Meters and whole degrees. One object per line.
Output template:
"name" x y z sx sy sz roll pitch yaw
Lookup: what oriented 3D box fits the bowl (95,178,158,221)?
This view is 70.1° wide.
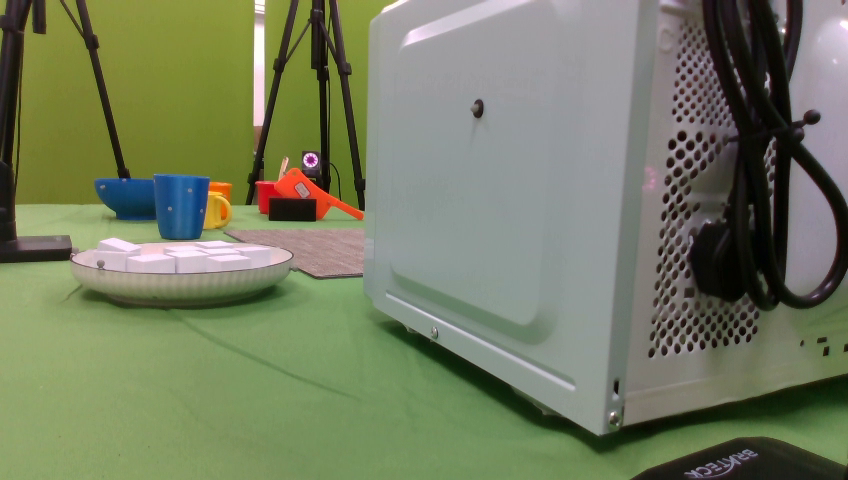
"bowl" -0.576 -0.081 1.217 0.151 0.077 0.151 3 8 0

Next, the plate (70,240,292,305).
"plate" -0.242 0.031 0.618 0.208 0.039 0.207 2 8 0

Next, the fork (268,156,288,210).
"fork" -0.360 -0.144 1.507 0.028 0.018 0.207 1 49 0

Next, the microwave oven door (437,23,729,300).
"microwave oven door" 0.181 -0.072 0.621 0.358 0.243 0.039 -2 9 -29

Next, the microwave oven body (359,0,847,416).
"microwave oven body" 0.211 -0.047 0.474 0.444 0.260 0.324 -1 7 -28

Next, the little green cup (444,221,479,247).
"little green cup" 0.064 -0.010 1.035 0.061 0.038 0.061 1 9 0

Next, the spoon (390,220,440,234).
"spoon" -0.010 -0.029 1.181 0.041 0.021 0.194 30 18 23

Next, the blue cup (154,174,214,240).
"blue cup" -0.390 -0.053 0.978 0.093 0.100 0.092 4 6 0

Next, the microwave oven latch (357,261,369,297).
"microwave oven latch" -0.019 0.033 0.531 0.079 0.029 0.030 -1 7 -27

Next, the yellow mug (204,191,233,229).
"yellow mug" -0.415 -0.057 1.132 0.130 0.064 0.100 6 8 16

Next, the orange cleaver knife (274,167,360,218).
"orange cleaver knife" -0.238 -0.090 1.381 0.212 0.077 0.012 31 0 -19
